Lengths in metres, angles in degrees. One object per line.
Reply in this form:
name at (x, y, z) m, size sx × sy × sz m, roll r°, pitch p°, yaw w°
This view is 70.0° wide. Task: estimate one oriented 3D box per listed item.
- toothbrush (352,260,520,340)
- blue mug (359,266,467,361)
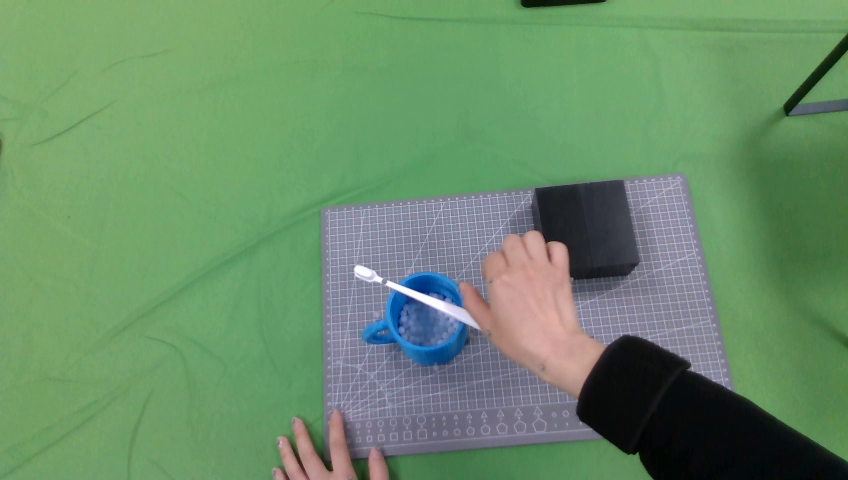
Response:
toothbrush at (0.010, 0.057, 0.596) m, size 0.181 × 0.017 × 0.014 m, roll 23°, pitch 69°, yaw 10°
blue mug at (-0.012, 0.086, 0.650) m, size 0.116 × 0.106 × 0.082 m, roll -14°, pitch 71°, yaw -1°
